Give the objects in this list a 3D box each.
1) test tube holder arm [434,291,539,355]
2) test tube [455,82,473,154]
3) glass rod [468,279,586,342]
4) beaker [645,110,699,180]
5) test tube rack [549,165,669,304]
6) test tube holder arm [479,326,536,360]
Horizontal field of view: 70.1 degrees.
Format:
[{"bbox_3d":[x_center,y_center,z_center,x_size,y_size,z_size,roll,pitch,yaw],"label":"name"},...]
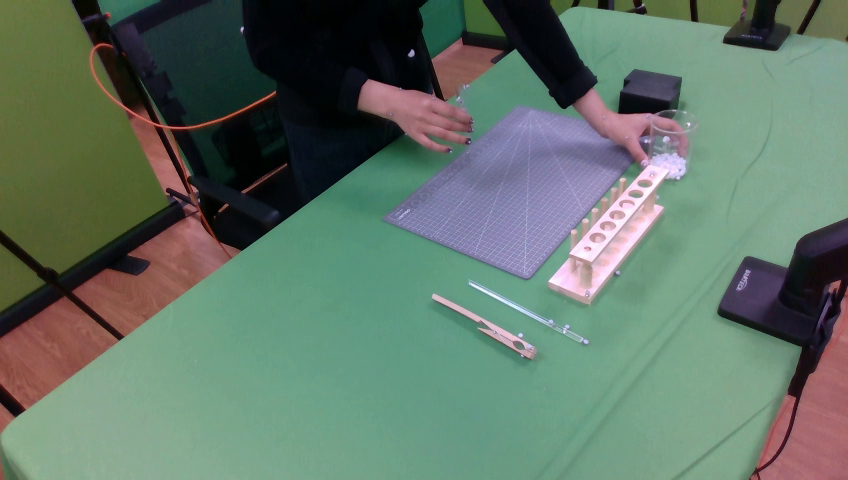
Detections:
[{"bbox_3d":[0.081,0.112,0.832,0.177,0.015,0.013,29,83,36],"label":"test tube holder arm"},{"bbox_3d":[0.069,-0.206,1.039,0.017,0.151,0.017,-5,50,7],"label":"test tube"},{"bbox_3d":[0.140,0.096,0.852,0.198,0.008,0.008,27,52,35],"label":"glass rod"},{"bbox_3d":[0.417,-0.160,1.032,0.083,0.101,0.074,25,51,34],"label":"beaker"},{"bbox_3d":[0.279,-0.018,0.902,0.066,0.085,0.243,24,50,33],"label":"test tube rack"},{"bbox_3d":[0.110,0.134,0.805,0.087,0.015,0.010,29,84,36],"label":"test tube holder arm"}]
